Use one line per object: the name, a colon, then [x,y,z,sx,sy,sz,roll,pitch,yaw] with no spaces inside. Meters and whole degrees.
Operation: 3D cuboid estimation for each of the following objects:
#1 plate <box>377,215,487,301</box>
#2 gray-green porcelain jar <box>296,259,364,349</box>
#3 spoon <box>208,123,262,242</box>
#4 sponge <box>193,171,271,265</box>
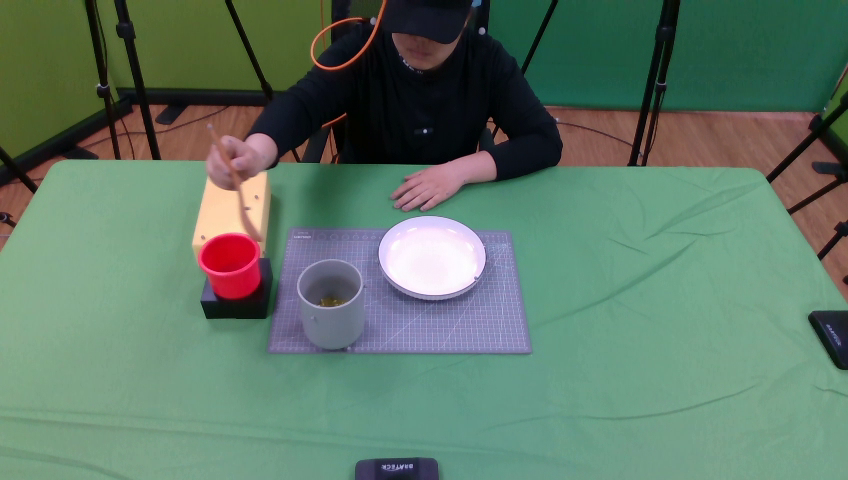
plate: [0.014,0.037,1.147,0.208,0.039,0.206,2,46,-2]
gray-green porcelain jar: [-0.152,0.111,1.003,0.106,0.127,0.105,2,46,-2]
spoon: [-0.284,-0.084,0.916,0.021,0.194,0.041,-13,23,-2]
sponge: [-0.371,-0.047,1.189,0.118,0.061,0.205,-3,47,-6]
